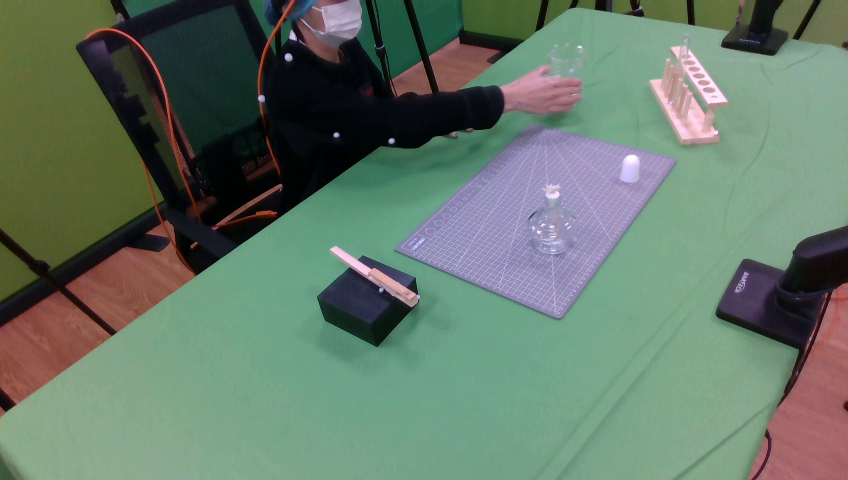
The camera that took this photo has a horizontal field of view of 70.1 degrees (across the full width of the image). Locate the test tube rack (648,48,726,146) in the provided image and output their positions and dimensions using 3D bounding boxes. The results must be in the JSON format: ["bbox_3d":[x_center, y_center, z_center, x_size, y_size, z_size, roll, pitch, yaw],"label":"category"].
[{"bbox_3d":[0.509,-0.285,1.186,0.067,0.085,0.241,-4,40,6],"label":"test tube rack"}]

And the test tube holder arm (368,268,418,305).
[{"bbox_3d":[-0.043,0.063,0.827,0.087,0.010,0.015,29,53,36],"label":"test tube holder arm"}]

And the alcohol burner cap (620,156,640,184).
[{"bbox_3d":[0.358,-0.124,1.047,0.034,0.048,0.033,-4,40,4],"label":"alcohol burner cap"}]

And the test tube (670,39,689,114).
[{"bbox_3d":[0.484,-0.308,1.146,0.017,0.151,0.017,-5,41,5],"label":"test tube"}]

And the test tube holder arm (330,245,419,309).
[{"bbox_3d":[-0.074,0.049,0.857,0.177,0.013,0.015,30,54,36],"label":"test tube holder arm"}]

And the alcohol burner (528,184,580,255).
[{"bbox_3d":[0.196,-0.035,0.911,0.078,0.119,0.077,-6,41,5],"label":"alcohol burner"}]

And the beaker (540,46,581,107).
[{"bbox_3d":[0.272,-0.324,1.205,0.084,0.100,0.073,-23,46,-18],"label":"beaker"}]
